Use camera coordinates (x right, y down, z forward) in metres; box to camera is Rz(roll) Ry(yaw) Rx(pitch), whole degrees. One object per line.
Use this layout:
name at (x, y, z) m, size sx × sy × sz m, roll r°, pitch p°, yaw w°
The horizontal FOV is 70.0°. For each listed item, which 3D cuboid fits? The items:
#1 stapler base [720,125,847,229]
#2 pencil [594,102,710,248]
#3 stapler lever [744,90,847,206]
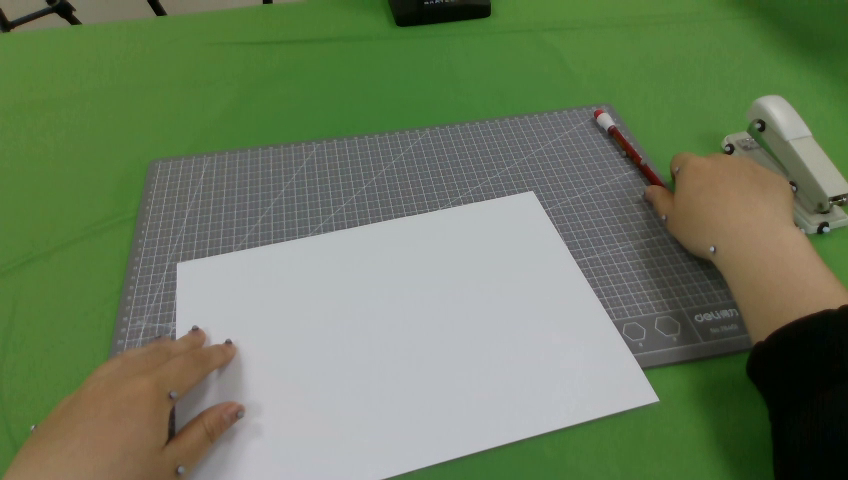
stapler base at (0.311, -0.064, 0.524) m, size 0.041 × 0.024 × 0.129 m, roll -14°, pitch 50°, yaw -8°
pencil at (0.196, -0.063, 0.531) m, size 0.012 × 0.012 × 0.192 m, roll -12°, pitch 50°, yaw -10°
stapler lever at (0.311, -0.080, 0.504) m, size 0.027 × 0.040 × 0.116 m, roll -14°, pitch 50°, yaw -8°
